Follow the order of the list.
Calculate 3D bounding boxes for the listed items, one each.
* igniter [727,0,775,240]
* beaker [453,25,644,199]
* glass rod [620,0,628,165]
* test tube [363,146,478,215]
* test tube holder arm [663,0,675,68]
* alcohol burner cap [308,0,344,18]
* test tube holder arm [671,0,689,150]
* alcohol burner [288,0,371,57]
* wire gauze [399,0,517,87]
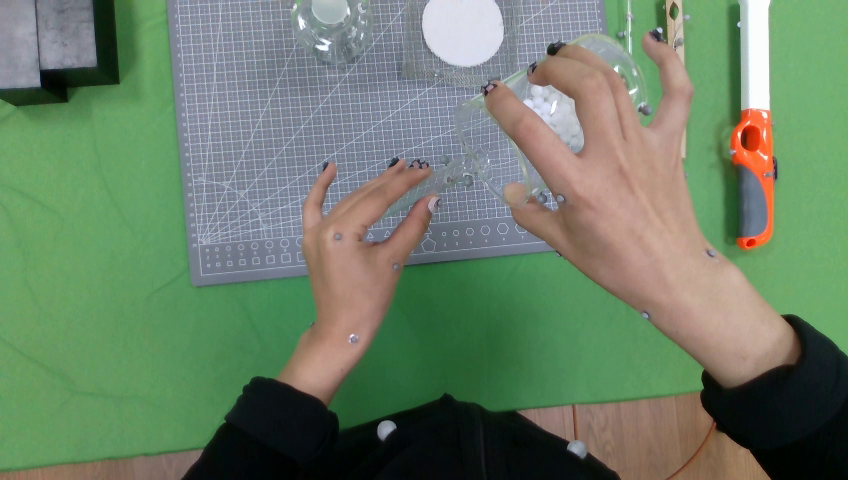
[{"bbox_3d":[0.351,-0.138,0.651,0.057,0.025,0.276,2,88,-16],"label":"igniter"},{"bbox_3d":[0.078,-0.082,0.382,0.100,0.084,0.074,-33,97,-13],"label":"beaker"},{"bbox_3d":[0.214,-0.180,0.648,0.008,0.008,0.199,0,90,-6],"label":"glass rod"},{"bbox_3d":[-0.009,-0.043,0.469,0.017,0.150,0.017,8,74,-32],"label":"test tube"},{"bbox_3d":[0.264,-0.230,0.651,0.010,0.015,0.087,-4,89,31],"label":"test tube holder arm"},{"bbox_3d":[-0.087,-0.220,0.528,0.034,0.048,0.033,1,82,-5],"label":"alcohol burner cap"},{"bbox_3d":[0.272,-0.185,0.647,0.013,0.015,0.178,-5,88,31],"label":"test tube holder arm"},{"bbox_3d":[-0.090,-0.217,0.564,0.078,0.119,0.078,0,88,-3],"label":"alcohol burner"},{"bbox_3d":[0.038,-0.228,0.630,0.125,0.011,0.121,6,89,-6],"label":"wire gauze"}]
